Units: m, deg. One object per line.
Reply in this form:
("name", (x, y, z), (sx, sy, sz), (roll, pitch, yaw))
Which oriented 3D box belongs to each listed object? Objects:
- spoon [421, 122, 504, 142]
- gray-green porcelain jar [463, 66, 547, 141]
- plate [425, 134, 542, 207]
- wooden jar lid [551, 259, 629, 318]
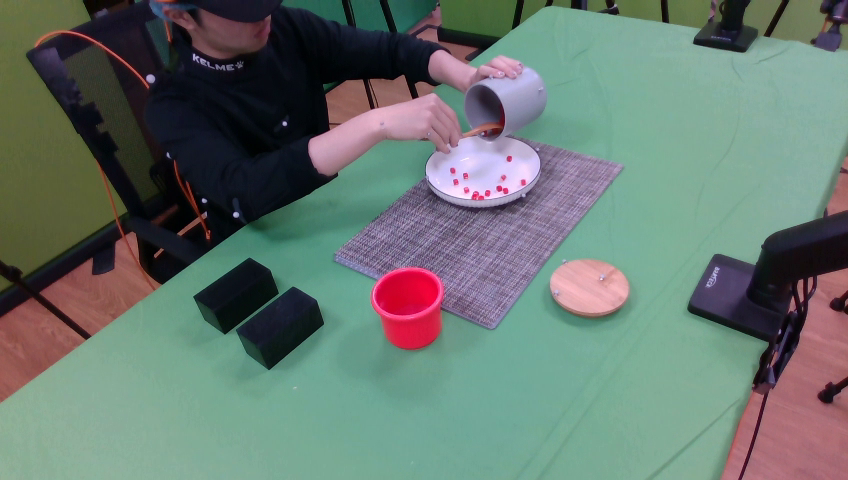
("spoon", (0.069, -0.180, 1.023), (0.195, 0.022, 0.041), (-21, 31, -38))
("gray-green porcelain jar", (0.151, -0.249, 1.087), (0.127, 0.106, 0.105), (-32, 46, -32))
("plate", (0.106, -0.122, 1.079), (0.207, 0.039, 0.206), (-4, 41, 4))
("wooden jar lid", (0.234, 0.070, 0.857), (0.108, 0.021, 0.108), (-5, 40, 4))
